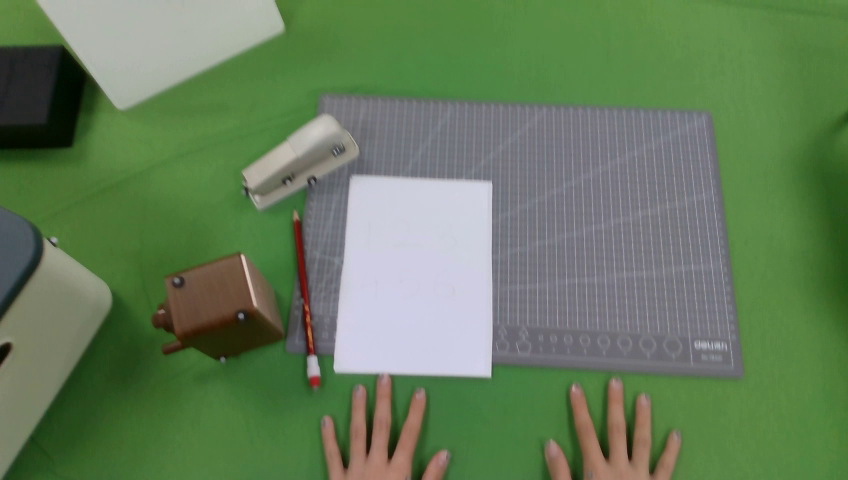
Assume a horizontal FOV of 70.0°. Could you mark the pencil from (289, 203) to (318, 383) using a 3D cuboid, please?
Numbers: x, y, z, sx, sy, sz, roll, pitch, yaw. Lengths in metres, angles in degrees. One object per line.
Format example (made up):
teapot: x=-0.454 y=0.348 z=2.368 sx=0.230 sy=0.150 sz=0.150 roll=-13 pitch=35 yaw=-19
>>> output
pencil: x=-0.125 y=0.049 z=0.617 sx=0.012 sy=0.012 sz=0.192 roll=-10 pitch=70 yaw=-4

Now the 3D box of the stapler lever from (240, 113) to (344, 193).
stapler lever: x=-0.139 y=-0.093 z=0.635 sx=0.118 sy=0.040 sz=0.026 roll=-31 pitch=68 yaw=-8

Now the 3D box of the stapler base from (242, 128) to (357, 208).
stapler base: x=-0.137 y=-0.085 z=0.659 sx=0.130 sy=0.024 sz=0.041 roll=-31 pitch=69 yaw=-7

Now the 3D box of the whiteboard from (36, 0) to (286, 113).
whiteboard: x=-0.318 y=-0.334 z=0.635 sx=0.217 sy=0.308 sz=0.142 roll=-29 pitch=53 yaw=-10

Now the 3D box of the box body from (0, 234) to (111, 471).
box body: x=-0.510 y=0.057 z=0.532 sx=0.363 sy=0.161 sz=0.253 roll=23 pitch=71 yaw=8

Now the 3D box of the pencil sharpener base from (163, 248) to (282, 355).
pencil sharpener base: x=-0.185 y=0.061 z=0.562 sx=0.077 sy=0.108 sz=0.061 roll=-18 pitch=70 yaw=-6

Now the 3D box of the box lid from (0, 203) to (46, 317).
box lid: x=-0.512 y=0.030 z=0.462 sx=0.371 sy=0.015 sz=0.262 roll=23 pitch=71 yaw=7

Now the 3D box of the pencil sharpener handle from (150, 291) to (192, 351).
pencil sharpener handle: x=-0.232 y=0.077 z=0.541 sx=0.031 sy=0.068 sz=0.035 roll=-18 pitch=49 yaw=-6
